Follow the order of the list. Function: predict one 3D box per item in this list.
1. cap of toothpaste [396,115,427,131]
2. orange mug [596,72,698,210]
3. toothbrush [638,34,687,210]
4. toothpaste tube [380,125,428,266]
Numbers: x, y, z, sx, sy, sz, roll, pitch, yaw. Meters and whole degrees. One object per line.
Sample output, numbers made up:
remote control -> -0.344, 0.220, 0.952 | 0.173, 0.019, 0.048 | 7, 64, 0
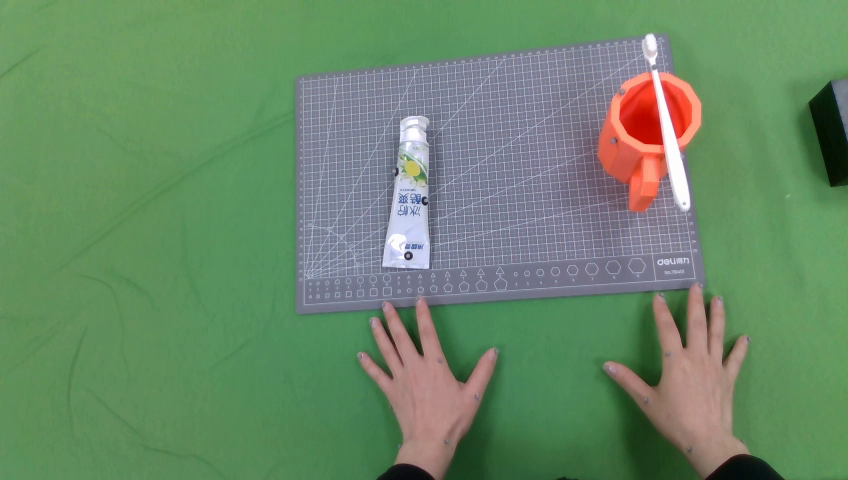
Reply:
cap of toothpaste -> -0.014, -0.133, 0.704 | 0.037, 0.037, 0.011 | -10, 74, 6
orange mug -> 0.228, -0.098, 0.632 | 0.083, 0.101, 0.125 | 4, 73, 9
toothbrush -> 0.230, -0.116, 0.582 | 0.014, 0.017, 0.181 | -7, 77, 2
toothpaste tube -> -0.020, -0.052, 0.693 | 0.055, 0.035, 0.164 | 1, 82, 13
